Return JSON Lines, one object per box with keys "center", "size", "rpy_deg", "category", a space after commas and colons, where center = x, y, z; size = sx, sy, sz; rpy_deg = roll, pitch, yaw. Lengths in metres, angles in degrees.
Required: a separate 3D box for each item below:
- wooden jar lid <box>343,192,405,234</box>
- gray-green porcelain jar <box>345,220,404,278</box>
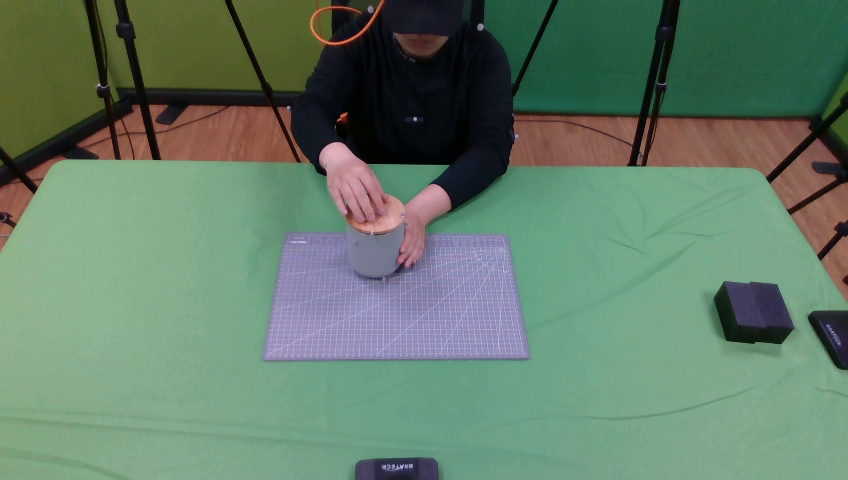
{"center": [-0.088, -0.044, 1.072], "size": [0.108, 0.021, 0.107], "rpy_deg": [4, 44, -3], "category": "wooden jar lid"}
{"center": [-0.091, -0.001, 1.117], "size": [0.106, 0.127, 0.105], "rpy_deg": [3, 46, -2], "category": "gray-green porcelain jar"}
